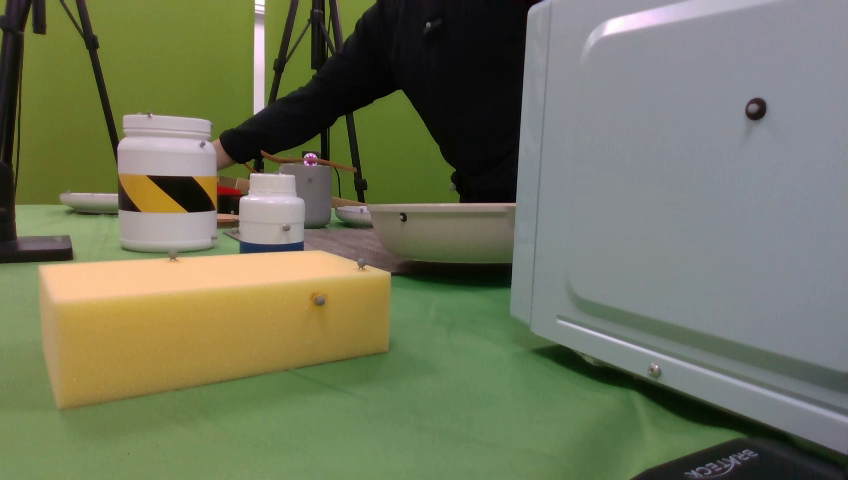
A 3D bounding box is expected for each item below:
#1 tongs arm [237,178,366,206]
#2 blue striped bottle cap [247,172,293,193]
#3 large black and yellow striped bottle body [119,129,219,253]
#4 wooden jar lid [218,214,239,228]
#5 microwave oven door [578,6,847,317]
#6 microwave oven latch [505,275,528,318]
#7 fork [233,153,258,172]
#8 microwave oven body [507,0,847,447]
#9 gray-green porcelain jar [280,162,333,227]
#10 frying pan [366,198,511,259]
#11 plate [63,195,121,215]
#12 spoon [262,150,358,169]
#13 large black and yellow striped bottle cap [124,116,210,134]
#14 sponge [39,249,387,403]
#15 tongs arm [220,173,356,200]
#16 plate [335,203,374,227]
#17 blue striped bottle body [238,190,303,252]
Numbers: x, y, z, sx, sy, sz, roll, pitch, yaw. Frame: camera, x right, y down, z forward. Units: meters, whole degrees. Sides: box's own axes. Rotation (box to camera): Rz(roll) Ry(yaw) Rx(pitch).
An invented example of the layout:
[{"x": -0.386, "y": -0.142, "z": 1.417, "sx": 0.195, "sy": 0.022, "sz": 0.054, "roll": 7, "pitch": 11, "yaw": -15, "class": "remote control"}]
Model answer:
[{"x": -0.242, "y": -0.096, "z": 1.374, "sx": 0.387, "sy": 0.026, "sz": 0.050, "roll": 9, "pitch": 3, "yaw": -37, "class": "tongs arm"}, {"x": -0.152, "y": -0.057, "z": 0.598, "sx": 0.044, "sy": 0.020, "sz": 0.044, "roll": 3, "pitch": 7, "yaw": 0, "class": "blue striped bottle cap"}, {"x": -0.367, "y": -0.080, "z": 0.876, "sx": 0.131, "sy": 0.184, "sz": 0.130, "roll": 2, "pitch": 7, "yaw": 0, "class": "large black and yellow striped bottle body"}, {"x": -0.404, "y": -0.037, "z": 1.169, "sx": 0.108, "sy": 0.020, "sz": 0.108, "roll": 2, "pitch": 7, "yaw": 0, "class": "wooden jar lid"}, {"x": 0.294, "y": -0.067, "z": 0.570, "sx": 0.358, "sy": 0.243, "sz": 0.039, "roll": -3, "pitch": 9, "yaw": -31, "class": "microwave oven door"}, {"x": 0.100, "y": 0.041, "z": 0.472, "sx": 0.079, "sy": 0.029, "sz": 0.030, "roll": -2, "pitch": 8, "yaw": -29, "class": "microwave oven latch"}, {"x": -0.396, "y": -0.143, "z": 1.486, "sx": 0.028, "sy": 0.018, "sz": 0.208, "roll": 21, "pitch": -26, "yaw": 45, "class": "fork"}, {"x": 0.331, "y": -0.042, "z": 0.425, "sx": 0.444, "sy": 0.260, "sz": 0.324, "roll": -2, "pitch": 8, "yaw": -31, "class": "microwave oven body"}, {"x": -0.237, "y": -0.092, "z": 1.221, "sx": 0.106, "sy": 0.126, "sz": 0.106, "roll": 2, "pitch": 7, "yaw": 0, "class": "gray-green porcelain jar"}, {"x": 0.172, "y": -0.041, "z": 0.805, "sx": 0.489, "sy": 0.102, "sz": 0.306, "roll": -10, "pitch": 7, "yaw": -12, "class": "frying pan"}, {"x": -0.661, "y": -0.077, "z": 1.311, "sx": 0.209, "sy": 0.038, "sz": 0.209, "roll": 1, "pitch": 6, "yaw": 0, "class": "plate"}, {"x": -0.229, "y": -0.162, "z": 1.221, "sx": 0.194, "sy": 0.021, "sz": 0.041, "roll": 4, "pitch": 5, "yaw": -16, "class": "spoon"}, {"x": -0.366, "y": -0.163, "z": 0.866, "sx": 0.115, "sy": 0.019, "sz": 0.115, "roll": 3, "pitch": 7, "yaw": 0, "class": "large black and yellow striped bottle cap"}, {"x": -0.142, "y": 0.047, "z": 0.420, "sx": 0.208, "sy": 0.061, "sz": 0.117, "roll": -3, "pitch": 8, "yaw": -36, "class": "sponge"}, {"x": -0.285, "y": -0.109, "z": 1.445, "sx": 0.389, "sy": 0.027, "sz": 0.028, "roll": 10, "pitch": -1, "yaw": -23, "class": "tongs arm"}, {"x": -0.089, "y": -0.053, "z": 1.309, "sx": 0.208, "sy": 0.039, "sz": 0.207, "roll": 2, "pitch": 8, "yaw": 0, "class": "plate"}, {"x": -0.153, "y": -0.007, "z": 0.605, "sx": 0.063, "sy": 0.120, "sz": 0.063, "roll": 2, "pitch": 7, "yaw": 0, "class": "blue striped bottle body"}]
